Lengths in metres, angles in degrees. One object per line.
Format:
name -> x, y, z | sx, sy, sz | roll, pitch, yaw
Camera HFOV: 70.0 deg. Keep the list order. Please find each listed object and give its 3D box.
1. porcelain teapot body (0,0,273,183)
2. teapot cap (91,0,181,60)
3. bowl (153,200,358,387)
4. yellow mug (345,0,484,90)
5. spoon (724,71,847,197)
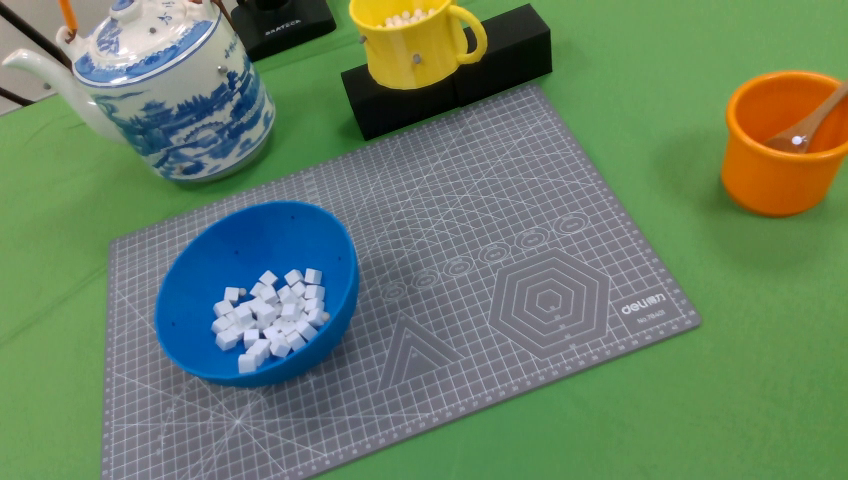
porcelain teapot body -> -0.276, -0.160, 0.569 | 0.205, 0.228, 0.143 | -17, 53, 3
teapot cap -> -0.257, -0.190, 0.536 | 0.085, 0.044, 0.084 | -8, 54, 12
bowl -> -0.114, 0.051, 0.461 | 0.151, 0.077, 0.150 | -7, 53, 10
yellow mug -> -0.003, -0.195, 0.560 | 0.130, 0.064, 0.099 | 19, 62, 25
spoon -> 0.294, -0.105, 0.429 | 0.022, 0.194, 0.041 | 6, 43, -38
